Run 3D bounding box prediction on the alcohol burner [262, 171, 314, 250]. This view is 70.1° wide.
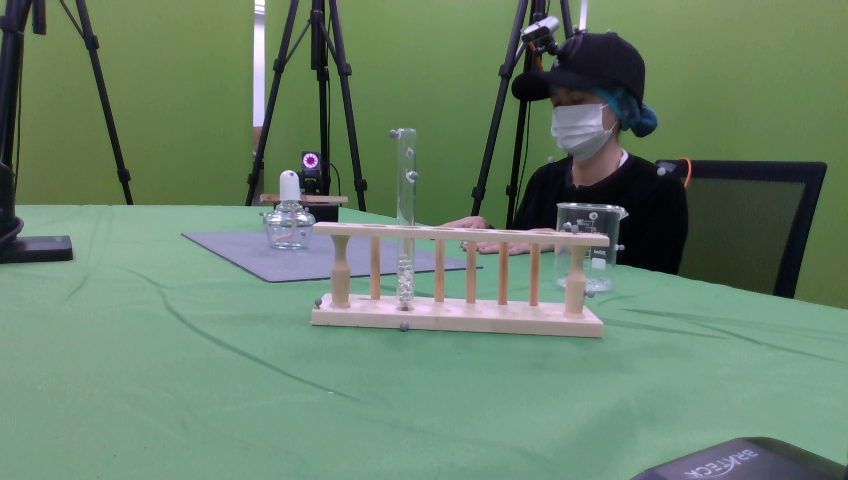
[{"bbox_3d":[-0.205,-0.045,0.913,0.078,0.119,0.078,1,9,0],"label":"alcohol burner"}]

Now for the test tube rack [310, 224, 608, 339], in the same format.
[{"bbox_3d":[0.028,0.032,0.528,0.242,0.085,0.067,3,7,0],"label":"test tube rack"}]

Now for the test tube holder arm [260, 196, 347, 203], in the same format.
[{"bbox_3d":[-0.239,-0.082,1.213,0.179,0.015,0.013,-1,0,-32],"label":"test tube holder arm"}]

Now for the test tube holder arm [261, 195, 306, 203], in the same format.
[{"bbox_3d":[-0.275,-0.081,1.184,0.088,0.015,0.010,-1,0,-32],"label":"test tube holder arm"}]

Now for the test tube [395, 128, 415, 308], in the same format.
[{"bbox_3d":[-0.016,-0.016,0.502,0.017,0.150,0.017,1,10,0],"label":"test tube"}]

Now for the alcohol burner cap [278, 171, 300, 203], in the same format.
[{"bbox_3d":[-0.203,-0.080,0.909,0.034,0.048,0.034,-1,3,0],"label":"alcohol burner cap"}]

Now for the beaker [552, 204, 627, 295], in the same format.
[{"bbox_3d":[0.191,0.010,0.708,0.083,0.100,0.074,8,9,33],"label":"beaker"}]
